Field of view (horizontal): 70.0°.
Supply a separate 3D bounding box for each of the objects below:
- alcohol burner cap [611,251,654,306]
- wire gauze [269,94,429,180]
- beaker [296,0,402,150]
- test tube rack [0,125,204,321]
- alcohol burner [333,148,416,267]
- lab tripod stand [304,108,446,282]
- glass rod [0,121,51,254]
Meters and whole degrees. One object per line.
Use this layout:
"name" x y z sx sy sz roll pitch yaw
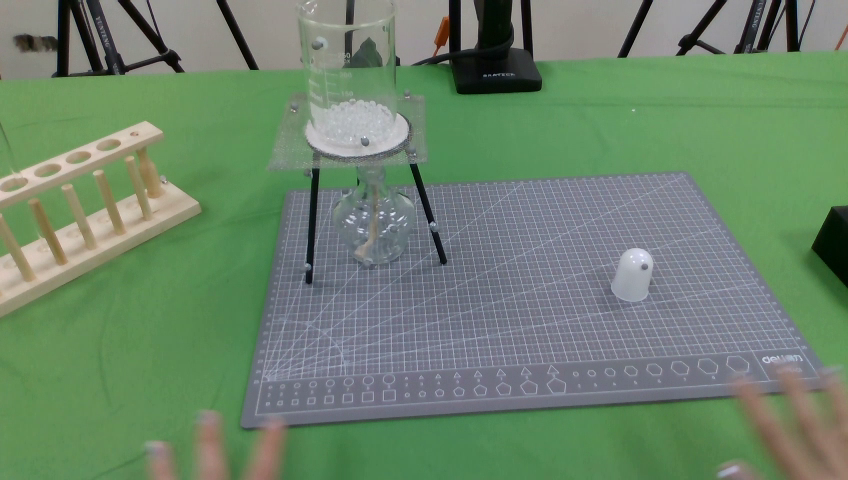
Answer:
"alcohol burner cap" 0.184 0.031 0.529 0.034 0.048 0.033 0 41 1
"wire gauze" -0.058 -0.090 0.501 0.121 0.011 0.124 -1 42 -1
"beaker" -0.059 -0.129 0.472 0.083 0.101 0.074 24 45 24
"test tube rack" -0.337 -0.015 0.560 0.066 0.086 0.242 30 48 32
"alcohol burner" -0.046 -0.033 0.553 0.078 0.120 0.077 1 42 0
"lab tripod stand" -0.049 -0.041 0.546 0.148 0.132 0.147 1 39 0
"glass rod" -0.360 -0.072 0.526 0.008 0.201 0.008 0 32 0
